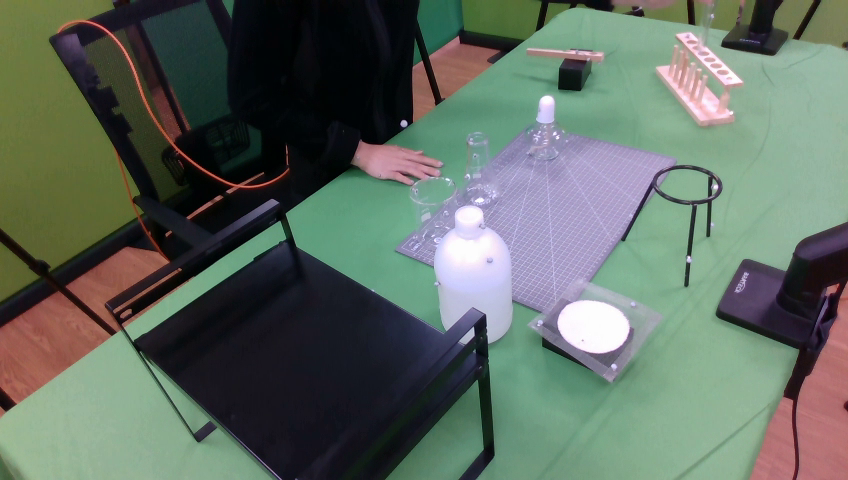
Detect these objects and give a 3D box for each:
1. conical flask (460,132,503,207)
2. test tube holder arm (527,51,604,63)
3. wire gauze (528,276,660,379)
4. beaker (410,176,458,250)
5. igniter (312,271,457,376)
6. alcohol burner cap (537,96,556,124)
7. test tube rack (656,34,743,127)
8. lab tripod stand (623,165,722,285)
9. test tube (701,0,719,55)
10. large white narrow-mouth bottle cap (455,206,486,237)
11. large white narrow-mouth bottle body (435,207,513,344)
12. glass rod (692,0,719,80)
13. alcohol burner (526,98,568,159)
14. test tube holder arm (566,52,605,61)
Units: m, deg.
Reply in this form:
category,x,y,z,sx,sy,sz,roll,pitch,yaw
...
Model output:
category,x,y,z,sx,sy,sz,roll,pitch,yaw
conical flask,0.096,-0.123,1.030,0.075,0.122,0.075,-4,40,4
test tube holder arm,0.311,-0.408,1.344,0.177,0.015,0.013,14,38,30
wire gauze,0.214,0.103,0.763,0.124,0.011,0.122,30,53,35
beaker,0.022,-0.041,0.963,0.073,0.101,0.084,28,51,34
igniter,-0.068,0.111,0.859,0.274,0.025,0.057,27,61,34
alcohol burner cap,0.223,-0.238,1.095,0.034,0.048,0.033,-2,37,2
test tube rack,0.553,-0.331,1.233,0.067,0.085,0.241,-7,40,2
lab tripod stand,0.365,-0.030,0.875,0.148,0.132,0.147,-6,41,6
test tube,0.525,-0.407,1.105,0.017,0.151,0.017,-7,46,8
large white narrow-mouth bottle cap,0.057,-0.023,0.734,0.038,0.024,0.037,-4,40,4
large white narrow-mouth bottle body,0.065,0.041,0.791,0.102,0.195,0.101,-4,41,4
glass rod,0.562,-0.402,1.213,0.008,0.200,0.008,-1,48,2
alcohol burner,0.228,-0.210,1.118,0.078,0.119,0.077,-5,43,5
test tube holder arm,0.352,-0.401,1.325,0.087,0.015,0.010,15,38,31
